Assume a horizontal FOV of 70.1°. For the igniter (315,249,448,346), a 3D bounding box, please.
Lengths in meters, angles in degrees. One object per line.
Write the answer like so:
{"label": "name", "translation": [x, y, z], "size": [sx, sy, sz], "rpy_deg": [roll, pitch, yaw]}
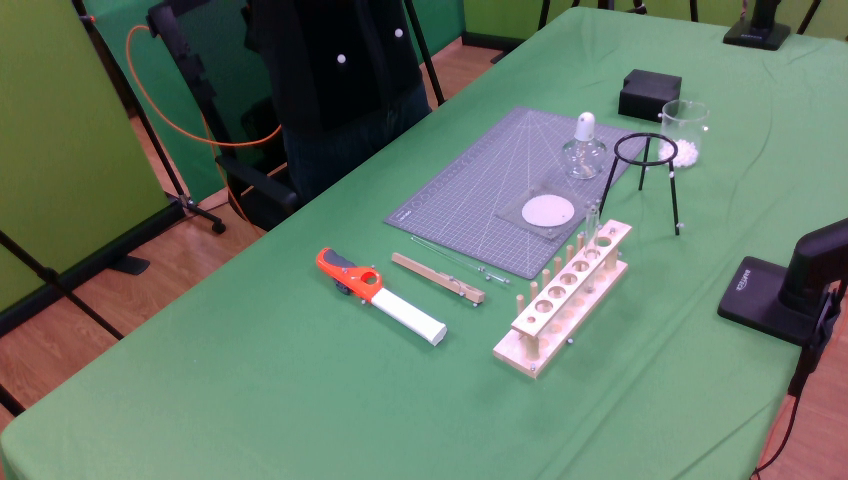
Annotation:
{"label": "igniter", "translation": [-0.074, 0.078, 0.902], "size": [0.274, 0.025, 0.057], "rpy_deg": [28, 63, 36]}

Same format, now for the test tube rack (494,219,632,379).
{"label": "test tube rack", "translation": [0.191, 0.068, 0.818], "size": [0.066, 0.085, 0.243], "rpy_deg": [25, 51, 35]}

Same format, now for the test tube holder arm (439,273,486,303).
{"label": "test tube holder arm", "translation": [0.053, 0.070, 0.896], "size": [0.087, 0.015, 0.010], "rpy_deg": [24, 17, 34]}

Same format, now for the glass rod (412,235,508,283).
{"label": "glass rod", "translation": [0.051, 0.028, 0.951], "size": [0.198, 0.008, 0.008], "rpy_deg": [25, 51, 37]}

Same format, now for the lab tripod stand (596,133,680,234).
{"label": "lab tripod stand", "translation": [0.338, -0.091, 0.940], "size": [0.148, 0.132, 0.147], "rpy_deg": [-7, 39, 6]}

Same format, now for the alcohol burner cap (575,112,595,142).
{"label": "alcohol burner cap", "translation": [0.276, -0.194, 1.028], "size": [0.034, 0.048, 0.033], "rpy_deg": [-2, 45, 3]}

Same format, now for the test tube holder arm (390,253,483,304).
{"label": "test tube holder arm", "translation": [0.015, 0.056, 0.917], "size": [0.177, 0.015, 0.013], "rpy_deg": [23, 16, 34]}

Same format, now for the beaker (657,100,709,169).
{"label": "beaker", "translation": [0.449, -0.183, 1.054], "size": [0.073, 0.101, 0.084], "rpy_deg": [15, 45, 27]}

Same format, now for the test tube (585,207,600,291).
{"label": "test tube", "translation": [0.222, 0.016, 0.797], "size": [0.017, 0.151, 0.017], "rpy_deg": [-6, 45, 7]}

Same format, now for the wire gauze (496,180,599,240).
{"label": "wire gauze", "translation": [0.206, -0.050, 1.012], "size": [0.125, 0.011, 0.120], "rpy_deg": [-34, 45, -26]}

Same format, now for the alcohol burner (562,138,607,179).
{"label": "alcohol burner", "translation": [0.280, -0.167, 1.052], "size": [0.078, 0.119, 0.077], "rpy_deg": [-5, 38, 4]}
